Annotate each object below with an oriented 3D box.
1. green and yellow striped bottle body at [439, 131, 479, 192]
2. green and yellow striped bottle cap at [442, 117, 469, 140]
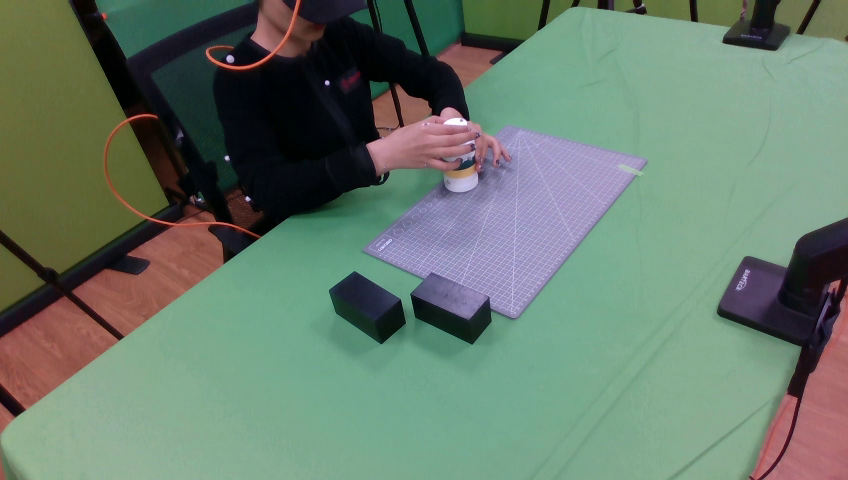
[{"bbox_3d":[0.061,-0.149,1.066,0.063,0.120,0.063,-5,40,5],"label":"green and yellow striped bottle body"},{"bbox_3d":[0.053,-0.191,1.032,0.045,0.020,0.045,-5,43,5],"label":"green and yellow striped bottle cap"}]
